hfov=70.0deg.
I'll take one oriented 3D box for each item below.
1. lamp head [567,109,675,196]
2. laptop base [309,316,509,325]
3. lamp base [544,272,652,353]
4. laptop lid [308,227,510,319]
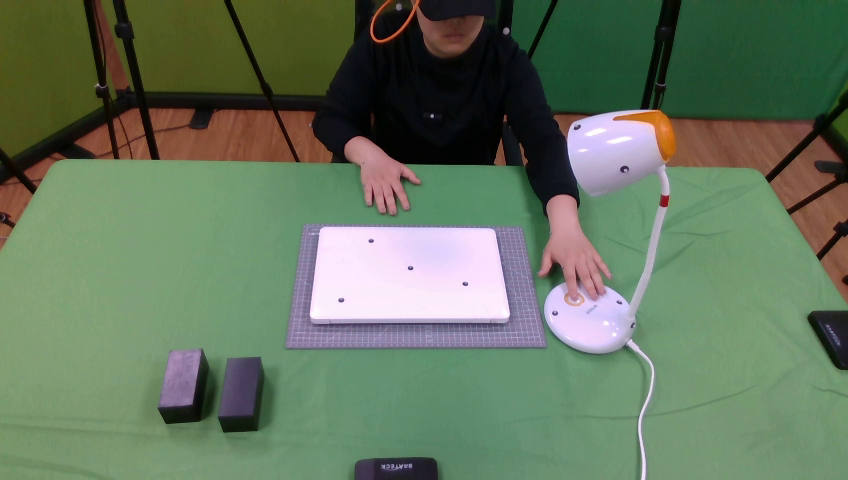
[{"bbox_3d":[0.272,-0.123,0.818,0.122,0.113,0.112,-9,35,37],"label":"lamp head"},{"bbox_3d":[-0.028,0.065,1.136,0.355,0.023,0.234,0,43,-4],"label":"laptop base"},{"bbox_3d":[0.310,0.086,1.029,0.178,0.181,0.160,32,53,21],"label":"lamp base"},{"bbox_3d":[-0.028,0.055,1.129,0.357,0.013,0.240,2,44,-3],"label":"laptop lid"}]
